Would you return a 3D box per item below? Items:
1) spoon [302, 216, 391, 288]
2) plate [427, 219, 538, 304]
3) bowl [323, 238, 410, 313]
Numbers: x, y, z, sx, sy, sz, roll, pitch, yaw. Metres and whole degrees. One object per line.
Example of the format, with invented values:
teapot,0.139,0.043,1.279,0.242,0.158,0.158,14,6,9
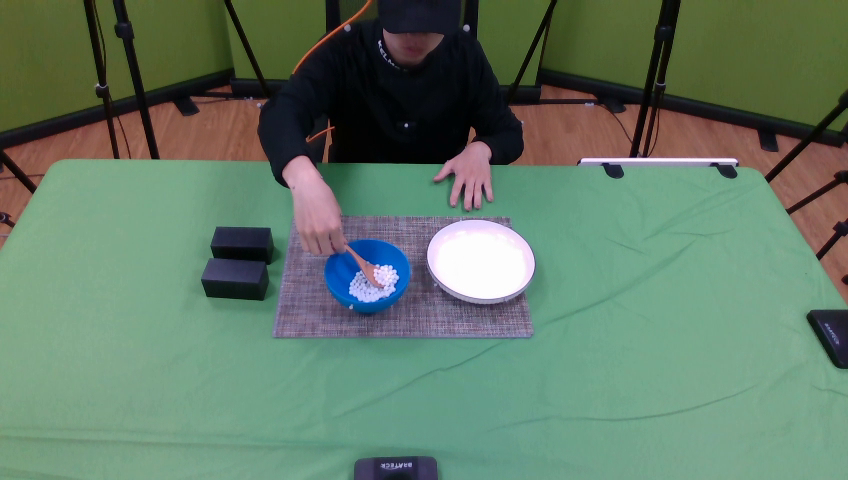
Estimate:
spoon,-0.136,0.019,1.068,0.194,0.021,0.041,43,43,-12
plate,0.109,0.044,1.149,0.208,0.039,0.206,2,46,-2
bowl,-0.101,0.077,1.073,0.151,0.077,0.150,2,46,-2
